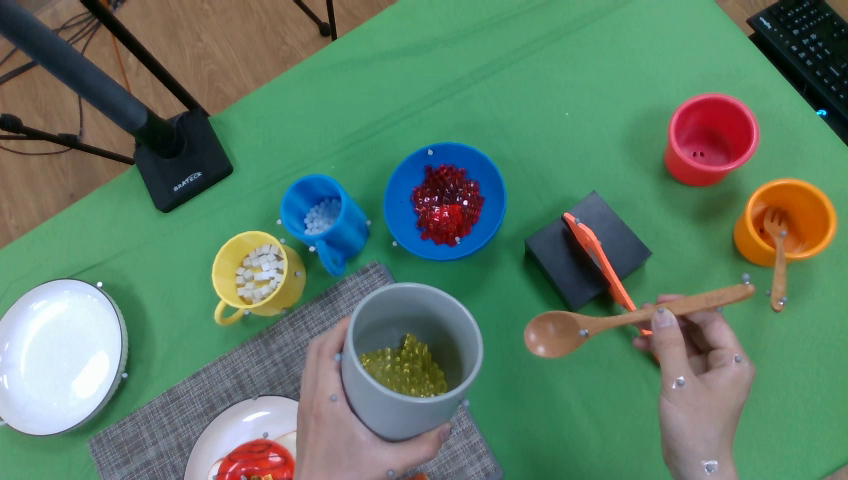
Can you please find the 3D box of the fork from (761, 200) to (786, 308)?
[{"bbox_3d":[0.373,0.010,0.643,0.028,0.019,0.206,29,38,11],"label":"fork"}]

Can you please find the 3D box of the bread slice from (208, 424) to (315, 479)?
[{"bbox_3d":[-0.195,0.293,0.729,0.131,0.019,0.104,-19,72,1],"label":"bread slice"}]

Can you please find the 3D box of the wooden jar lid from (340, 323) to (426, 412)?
[{"bbox_3d":[-0.049,0.156,0.745,0.108,0.021,0.108,-2,76,9],"label":"wooden jar lid"}]

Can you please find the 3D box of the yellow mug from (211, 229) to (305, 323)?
[{"bbox_3d":[-0.222,0.054,0.782,0.099,0.064,0.130,35,85,17],"label":"yellow mug"}]

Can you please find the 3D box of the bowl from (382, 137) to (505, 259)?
[{"bbox_3d":[0.029,-0.042,0.756,0.151,0.077,0.150,-3,75,10],"label":"bowl"}]

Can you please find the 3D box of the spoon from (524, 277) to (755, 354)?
[{"bbox_3d":[0.167,0.061,0.497,0.193,0.022,0.041,-21,78,40],"label":"spoon"}]

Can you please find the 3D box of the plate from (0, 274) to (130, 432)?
[{"bbox_3d":[-0.489,0.151,0.819,0.207,0.039,0.206,-2,75,9],"label":"plate"}]

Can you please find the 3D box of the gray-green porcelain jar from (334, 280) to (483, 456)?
[{"bbox_3d":[-0.019,0.111,0.501,0.106,0.127,0.105,8,49,-9],"label":"gray-green porcelain jar"}]

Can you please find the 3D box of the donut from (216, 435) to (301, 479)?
[{"bbox_3d":[-0.190,0.277,0.699,0.099,0.048,0.098,-2,74,7],"label":"donut"}]

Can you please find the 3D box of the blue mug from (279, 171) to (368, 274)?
[{"bbox_3d":[-0.122,-0.014,0.762,0.082,0.106,0.116,-13,73,7],"label":"blue mug"}]

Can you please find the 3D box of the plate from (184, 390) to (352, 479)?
[{"bbox_3d":[-0.183,0.287,0.724,0.209,0.038,0.208,-3,75,10],"label":"plate"}]

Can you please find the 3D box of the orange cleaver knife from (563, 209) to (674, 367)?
[{"bbox_3d":[0.221,0.054,0.694,0.012,0.077,0.212,-35,102,0],"label":"orange cleaver knife"}]
